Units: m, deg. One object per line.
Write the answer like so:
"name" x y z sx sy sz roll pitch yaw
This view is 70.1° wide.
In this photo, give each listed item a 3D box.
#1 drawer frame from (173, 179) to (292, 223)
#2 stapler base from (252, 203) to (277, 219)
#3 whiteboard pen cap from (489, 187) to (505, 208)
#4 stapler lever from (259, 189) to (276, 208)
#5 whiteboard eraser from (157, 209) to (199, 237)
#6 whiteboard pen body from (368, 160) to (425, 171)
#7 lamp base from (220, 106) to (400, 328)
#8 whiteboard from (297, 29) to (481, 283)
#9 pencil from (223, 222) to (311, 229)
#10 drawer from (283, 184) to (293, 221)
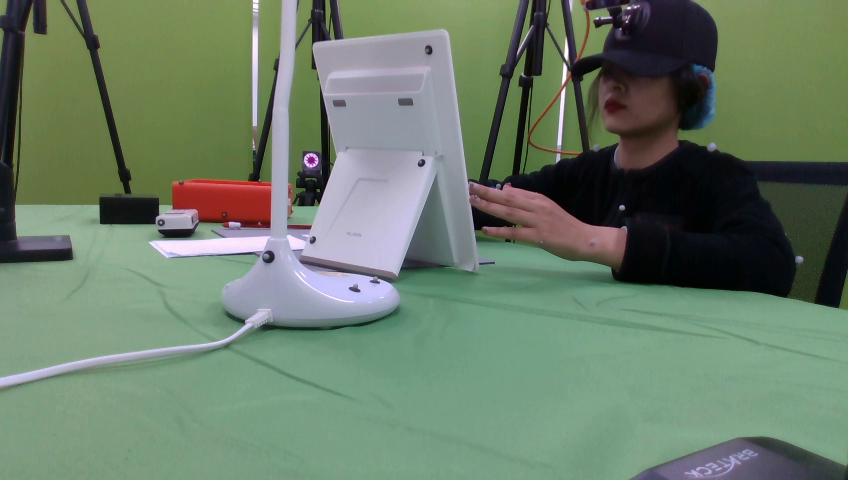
"drawer frame" -0.400 -0.086 1.299 0.214 0.082 0.201 1 8 -8
"stapler base" -0.341 -0.065 1.301 0.041 0.024 0.130 15 5 -10
"whiteboard pen cap" 0.095 -0.057 0.795 0.018 0.018 0.033 1 34 -11
"stapler lever" -0.335 -0.090 1.300 0.027 0.040 0.118 15 4 -10
"whiteboard eraser" -0.411 -0.029 1.016 0.056 0.042 0.112 2 7 -16
"whiteboard pen body" -0.040 -0.109 0.886 0.017 0.017 0.141 7 10 30
"lamp base" -0.101 -0.023 0.531 0.160 0.180 0.179 4 10 10
"whiteboard" -0.076 -0.082 0.741 0.216 0.305 0.144 9 29 37
"pencil" -0.274 -0.025 1.132 0.195 0.012 0.012 1 8 -25
"drawer" -0.396 -0.085 1.301 0.212 0.073 0.194 1 8 -7
